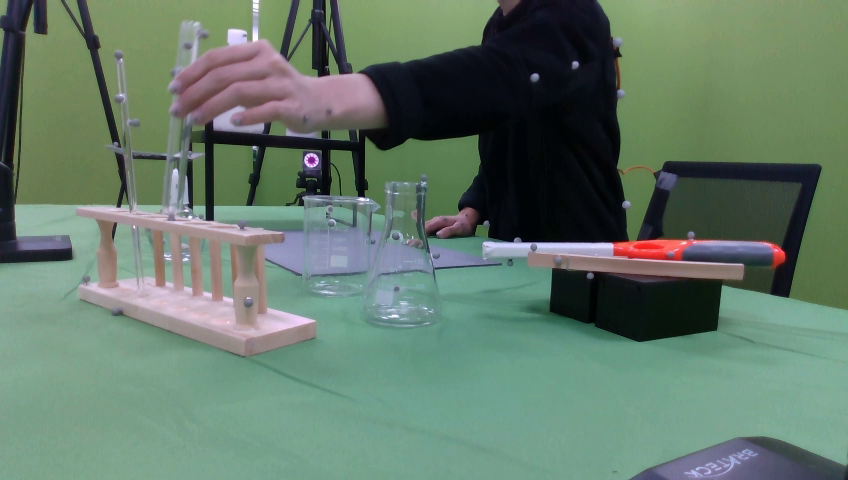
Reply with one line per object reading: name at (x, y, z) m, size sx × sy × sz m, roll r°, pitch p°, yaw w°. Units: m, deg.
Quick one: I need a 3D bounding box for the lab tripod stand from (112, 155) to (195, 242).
lab tripod stand at (-0.405, -0.064, 0.931) m, size 0.148 × 0.131 × 0.148 m, roll 1°, pitch 6°, yaw 0°

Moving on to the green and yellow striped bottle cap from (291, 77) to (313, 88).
green and yellow striped bottle cap at (-0.249, -0.321, 1.237) m, size 0.045 × 0.020 × 0.045 m, roll 3°, pitch 5°, yaw 0°

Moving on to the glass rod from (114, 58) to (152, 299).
glass rod at (-0.236, -0.044, 0.492) m, size 0.008 × 0.199 × 0.008 m, roll 0°, pitch 15°, yaw 0°

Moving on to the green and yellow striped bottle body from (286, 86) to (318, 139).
green and yellow striped bottle body at (-0.251, -0.270, 1.245) m, size 0.063 × 0.119 × 0.063 m, roll 2°, pitch 7°, yaw 0°

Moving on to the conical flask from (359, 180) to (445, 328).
conical flask at (-0.017, 0.010, 0.522) m, size 0.075 × 0.122 × 0.075 m, roll 2°, pitch 7°, yaw 0°

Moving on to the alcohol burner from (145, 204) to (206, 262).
alcohol burner at (-0.321, -0.032, 0.788) m, size 0.078 × 0.119 × 0.078 m, roll 1°, pitch 7°, yaw 0°

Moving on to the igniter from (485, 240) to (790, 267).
igniter at (0.197, 0.012, 0.585) m, size 0.276 × 0.025 × 0.057 m, roll 1°, pitch 5°, yaw 12°

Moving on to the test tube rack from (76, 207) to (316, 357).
test tube rack at (-0.196, 0.023, 0.500) m, size 0.241 × 0.085 × 0.067 m, roll 7°, pitch 9°, yaw 36°

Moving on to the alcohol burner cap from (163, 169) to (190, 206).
alcohol burner cap at (-0.321, -0.068, 0.782) m, size 0.034 × 0.048 × 0.034 m, roll 1°, pitch 7°, yaw 0°

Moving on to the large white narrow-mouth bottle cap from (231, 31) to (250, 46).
large white narrow-mouth bottle cap at (-0.354, -0.389, 1.168) m, size 0.038 × 0.024 × 0.037 m, roll 4°, pitch 5°, yaw 0°

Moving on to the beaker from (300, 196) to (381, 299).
beaker at (-0.087, 0.006, 0.626) m, size 0.084 × 0.100 × 0.074 m, roll 1°, pitch 8°, yaw -17°

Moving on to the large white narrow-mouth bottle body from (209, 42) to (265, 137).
large white narrow-mouth bottle body at (-0.361, -0.302, 1.175) m, size 0.102 × 0.194 × 0.102 m, roll 4°, pitch 5°, yaw 0°

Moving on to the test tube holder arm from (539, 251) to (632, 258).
test tube holder arm at (0.139, 0.018, 0.538) m, size 0.087 × 0.015 × 0.010 m, roll 4°, pitch 9°, yaw 14°

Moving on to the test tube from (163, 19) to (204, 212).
test tube at (-0.188, -0.097, 0.472) m, size 0.017 × 0.150 × 0.017 m, roll 6°, pitch 0°, yaw 0°

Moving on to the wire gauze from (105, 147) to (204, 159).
wire gauze at (-0.408, -0.131, 0.929) m, size 0.125 × 0.011 × 0.121 m, roll 2°, pitch 6°, yaw -11°

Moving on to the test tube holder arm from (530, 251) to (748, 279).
test tube holder arm at (0.182, 0.022, 0.522) m, size 0.178 × 0.015 × 0.013 m, roll 3°, pitch 9°, yaw 13°
